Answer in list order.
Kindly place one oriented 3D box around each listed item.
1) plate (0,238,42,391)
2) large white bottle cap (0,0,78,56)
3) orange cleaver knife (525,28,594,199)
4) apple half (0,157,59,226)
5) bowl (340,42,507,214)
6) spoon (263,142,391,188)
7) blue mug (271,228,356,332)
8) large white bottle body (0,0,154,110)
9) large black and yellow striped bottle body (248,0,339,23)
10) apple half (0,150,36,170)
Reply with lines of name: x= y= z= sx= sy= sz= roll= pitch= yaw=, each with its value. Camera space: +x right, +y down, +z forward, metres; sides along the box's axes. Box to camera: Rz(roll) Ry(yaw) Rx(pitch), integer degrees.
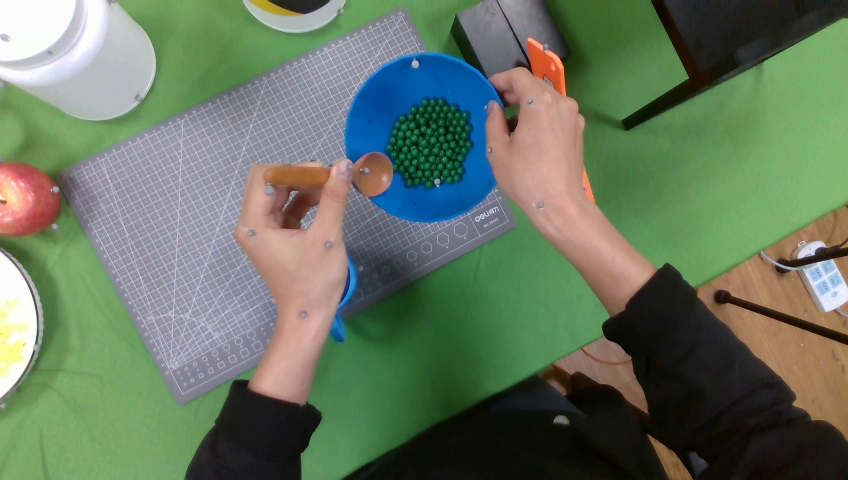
plate: x=-0.521 y=0.080 z=0.658 sx=0.209 sy=0.038 sz=0.209 roll=0 pitch=90 yaw=-5
large white bottle cap: x=-0.360 y=-0.218 z=0.521 sx=0.115 sy=0.018 sz=0.114 roll=0 pitch=89 yaw=-5
orange cleaver knife: x=0.158 y=-0.143 z=0.706 sx=0.012 sy=0.076 sz=0.213 roll=-29 pitch=123 yaw=-6
apple half: x=-0.431 y=-0.044 z=0.652 sx=0.081 sy=0.074 sz=0.053 roll=-43 pitch=97 yaw=-8
bowl: x=0.004 y=-0.103 z=0.573 sx=0.151 sy=0.076 sz=0.152 roll=2 pitch=101 yaw=9
spoon: x=-0.068 y=-0.059 z=0.479 sx=0.021 sy=0.194 sz=0.042 roll=14 pitch=101 yaw=14
blue mug: x=-0.112 y=0.046 z=0.664 sx=0.082 sy=0.106 sz=0.116 roll=-20 pitch=91 yaw=-6
large white bottle body: x=-0.367 y=-0.215 z=0.605 sx=0.131 sy=0.184 sz=0.130 roll=0 pitch=88 yaw=-5
large black and yellow striped bottle body: x=-0.148 y=-0.322 z=0.630 sx=0.131 sy=0.184 sz=0.130 roll=0 pitch=88 yaw=-5
apple half: x=-0.457 y=-0.073 z=0.649 sx=0.081 sy=0.081 sz=0.033 roll=-42 pitch=98 yaw=-5
